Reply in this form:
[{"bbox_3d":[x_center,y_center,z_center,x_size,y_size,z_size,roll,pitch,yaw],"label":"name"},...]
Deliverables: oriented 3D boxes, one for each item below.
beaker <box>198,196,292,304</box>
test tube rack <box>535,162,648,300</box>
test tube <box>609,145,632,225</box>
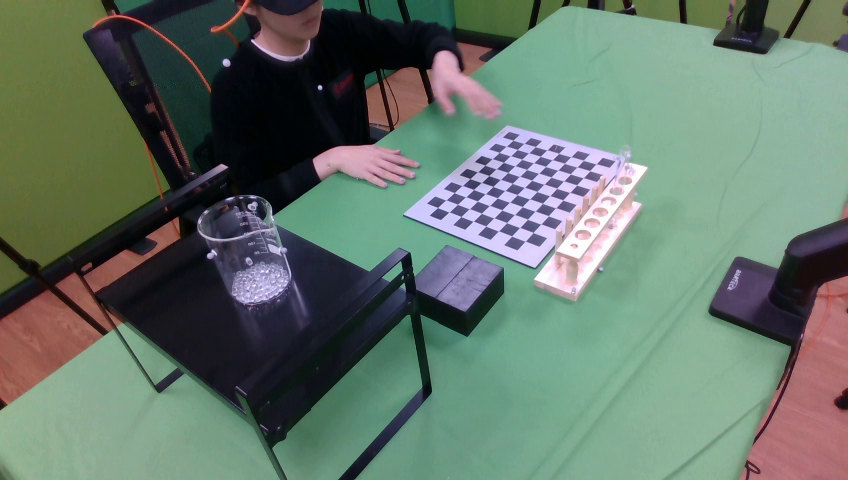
[{"bbox_3d":[-0.185,0.014,0.651,0.083,0.101,0.074,9,44,18],"label":"beaker"},{"bbox_3d":[0.257,-0.024,0.916,0.066,0.085,0.243,22,49,30],"label":"test tube rack"},{"bbox_3d":[0.290,-0.078,0.897,0.017,0.151,0.017,-4,46,5],"label":"test tube"}]
